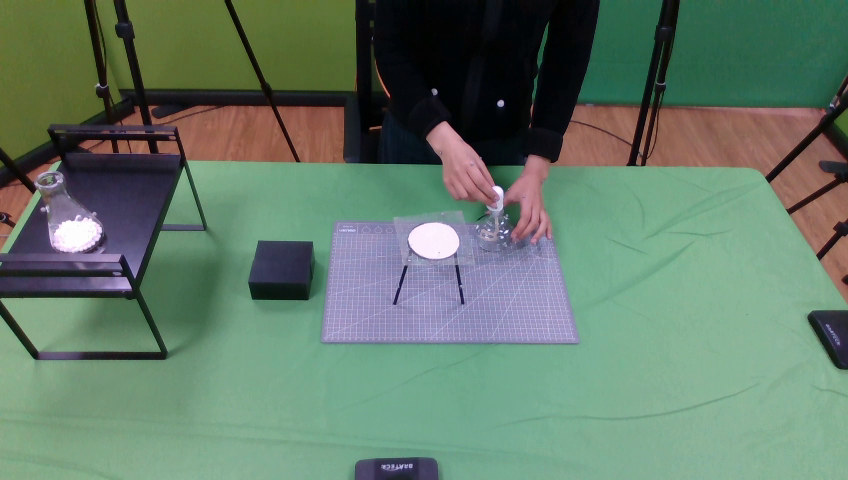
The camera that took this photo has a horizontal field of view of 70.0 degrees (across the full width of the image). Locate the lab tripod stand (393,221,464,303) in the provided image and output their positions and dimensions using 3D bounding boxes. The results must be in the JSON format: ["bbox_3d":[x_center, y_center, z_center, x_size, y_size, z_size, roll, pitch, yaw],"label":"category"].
[{"bbox_3d":[0.010,0.045,1.075,0.148,0.132,0.147,2,48,-2],"label":"lab tripod stand"}]

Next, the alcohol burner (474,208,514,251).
[{"bbox_3d":[0.137,-0.035,1.176,0.078,0.120,0.077,1,47,-1],"label":"alcohol burner"}]

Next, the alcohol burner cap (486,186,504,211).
[{"bbox_3d":[0.133,-0.079,1.120,0.034,0.048,0.033,-1,52,2],"label":"alcohol burner cap"}]

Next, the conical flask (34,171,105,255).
[{"bbox_3d":[-0.522,-0.043,0.879,0.075,0.122,0.075,2,46,-2],"label":"conical flask"}]

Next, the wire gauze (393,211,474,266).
[{"bbox_3d":[0.015,-0.003,1.028,0.125,0.011,0.120,-4,47,-7],"label":"wire gauze"}]
